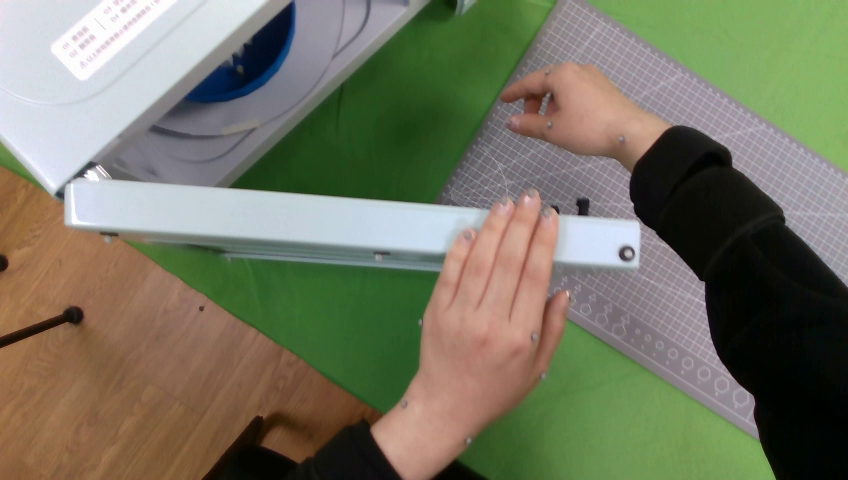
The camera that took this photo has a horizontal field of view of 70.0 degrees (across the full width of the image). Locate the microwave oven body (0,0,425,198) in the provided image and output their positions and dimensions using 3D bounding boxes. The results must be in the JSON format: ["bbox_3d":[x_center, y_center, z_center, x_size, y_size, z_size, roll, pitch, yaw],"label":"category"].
[{"bbox_3d":[-0.163,-0.265,0.502,0.441,0.260,0.326,-44,90,-5],"label":"microwave oven body"}]

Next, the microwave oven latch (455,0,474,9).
[{"bbox_3d":[0.062,-0.273,0.615,0.079,0.029,0.030,-41,90,-5],"label":"microwave oven latch"}]

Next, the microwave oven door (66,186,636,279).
[{"bbox_3d":[-0.046,-0.001,0.488,0.356,0.244,0.039,4,85,-4],"label":"microwave oven door"}]

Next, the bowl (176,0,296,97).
[{"bbox_3d":[-0.181,-0.187,0.527,0.151,0.077,0.151,0,83,-3],"label":"bowl"}]
